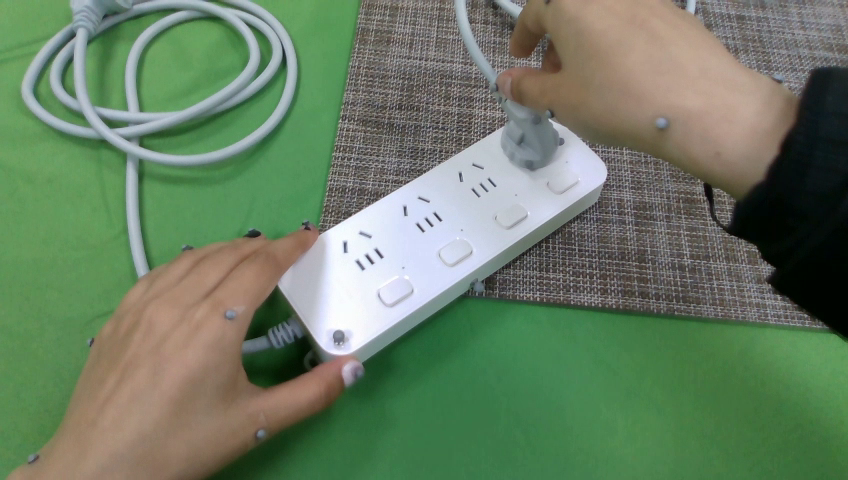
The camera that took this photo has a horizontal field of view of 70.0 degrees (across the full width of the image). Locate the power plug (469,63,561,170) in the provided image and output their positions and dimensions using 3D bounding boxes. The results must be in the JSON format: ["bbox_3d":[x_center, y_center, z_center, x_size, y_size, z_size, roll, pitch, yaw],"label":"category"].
[{"bbox_3d":[0.057,-0.075,0.381,0.035,0.053,0.072,-22,66,-13],"label":"power plug"}]

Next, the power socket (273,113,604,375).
[{"bbox_3d":[0.014,-0.006,0.367,0.227,0.033,0.071,-32,68,-18],"label":"power socket"}]
